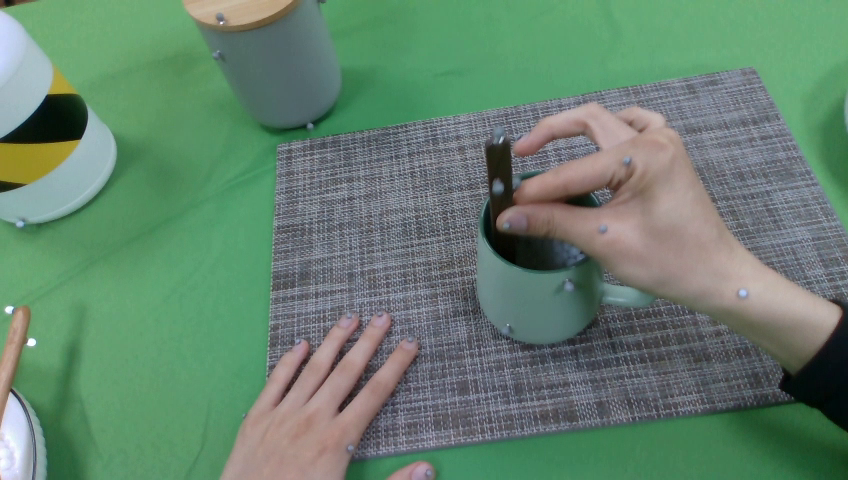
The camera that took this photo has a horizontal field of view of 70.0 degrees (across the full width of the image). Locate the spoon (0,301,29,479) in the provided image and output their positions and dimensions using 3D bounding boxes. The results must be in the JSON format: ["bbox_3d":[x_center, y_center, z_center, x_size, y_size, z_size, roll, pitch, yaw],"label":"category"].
[{"bbox_3d":[-0.302,0.132,0.427,0.041,0.022,0.192,-7,67,3],"label":"spoon"}]

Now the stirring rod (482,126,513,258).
[{"bbox_3d":[0.048,-0.009,0.376,0.014,0.178,0.005,-16,57,-1],"label":"stirring rod"}]

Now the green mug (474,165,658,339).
[{"bbox_3d":[0.095,0.014,0.417,0.125,0.106,0.092,10,61,14],"label":"green mug"}]

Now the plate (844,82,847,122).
[{"bbox_3d":[0.441,-0.092,0.474,0.207,0.039,0.205,-4,59,6],"label":"plate"}]

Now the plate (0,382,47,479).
[{"bbox_3d":[-0.359,0.190,0.419,0.209,0.038,0.207,-3,59,6],"label":"plate"}]

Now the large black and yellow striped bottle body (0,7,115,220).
[{"bbox_3d":[-0.375,-0.116,0.517,0.130,0.186,0.129,-4,59,6],"label":"large black and yellow striped bottle body"}]

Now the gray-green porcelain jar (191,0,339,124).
[{"bbox_3d":[-0.140,-0.179,0.557,0.106,0.127,0.105,-3,59,6],"label":"gray-green porcelain jar"}]

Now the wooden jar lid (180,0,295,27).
[{"bbox_3d":[-0.148,-0.212,0.505,0.108,0.021,0.107,-3,62,6],"label":"wooden jar lid"}]
